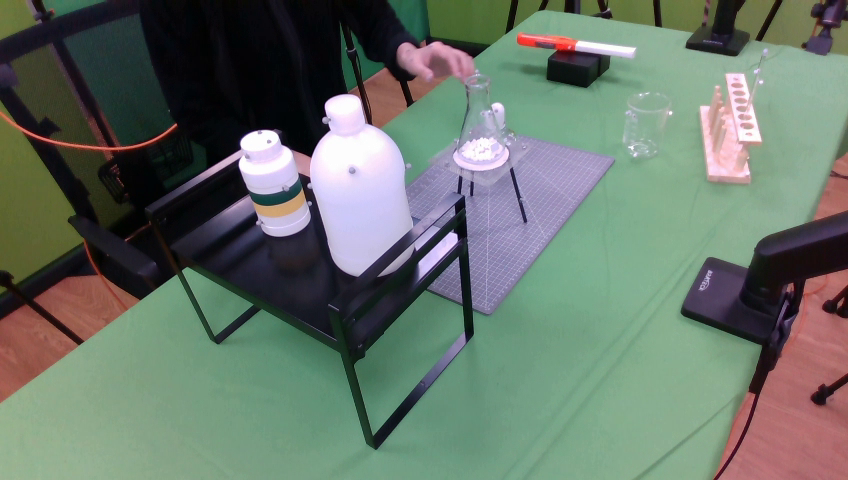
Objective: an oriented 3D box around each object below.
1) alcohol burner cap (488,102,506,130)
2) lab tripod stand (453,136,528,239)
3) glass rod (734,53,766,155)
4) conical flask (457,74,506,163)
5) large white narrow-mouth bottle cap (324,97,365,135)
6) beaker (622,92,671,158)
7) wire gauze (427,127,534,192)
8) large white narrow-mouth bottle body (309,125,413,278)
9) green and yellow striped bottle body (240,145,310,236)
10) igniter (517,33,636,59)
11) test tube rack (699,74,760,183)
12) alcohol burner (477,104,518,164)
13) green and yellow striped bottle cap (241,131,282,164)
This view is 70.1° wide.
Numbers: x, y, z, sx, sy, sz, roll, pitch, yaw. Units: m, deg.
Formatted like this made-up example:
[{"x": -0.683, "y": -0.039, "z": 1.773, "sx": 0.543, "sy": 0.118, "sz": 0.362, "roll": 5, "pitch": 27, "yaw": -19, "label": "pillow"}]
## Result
[{"x": 0.133, "y": -0.227, "z": 1.092, "sx": 0.034, "sy": 0.048, "sz": 0.033, "roll": -1, "pitch": 47, "yaw": 2, "label": "alcohol burner cap"}, {"x": 0.094, "y": -0.086, "z": 0.974, "sx": 0.148, "sy": 0.132, "sz": 0.147, "roll": -4, "pitch": 43, "yaw": 4, "label": "lab tripod stand"}, {"x": 0.540, "y": -0.220, "z": 1.007, "sx": 0.008, "sy": 0.201, "sz": 0.008, "roll": -5, "pitch": 46, "yaw": 6, "label": "glass rod"}, {"x": 0.082, "y": -0.181, "z": 0.893, "sx": 0.075, "sy": 0.122, "sz": 0.075, "roll": -4, "pitch": 41, "yaw": 4, "label": "conical flask"}, {"x": -0.076, "y": -0.120, "z": 0.585, "sx": 0.038, "sy": 0.024, "sz": 0.037, "roll": -3, "pitch": 42, "yaw": 3, "label": "large white narrow-mouth bottle cap"}, {"x": 0.402, "y": -0.210, "z": 1.106, "sx": 0.074, "sy": 0.101, "sz": 0.083, "roll": -9, "pitch": 40, "yaw": -2, "label": "beaker"}, {"x": 0.087, "y": -0.130, "z": 0.925, "sx": 0.124, "sy": 0.011, "sz": 0.122, "roll": 28, "pitch": 54, "yaw": 31, "label": "wire gauze"}, {"x": -0.068, "y": -0.057, "z": 0.645, "sx": 0.102, "sy": 0.195, "sz": 0.101, "roll": -3, "pitch": 42, "yaw": 4, "label": "large white narrow-mouth bottle body"}, {"x": -0.181, "y": -0.068, "z": 0.729, "sx": 0.063, "sy": 0.120, "sz": 0.063, "roll": -4, "pitch": 40, "yaw": 4, "label": "green and yellow striped bottle body"}, {"x": 0.336, "y": -0.441, "z": 1.369, "sx": 0.275, "sy": 0.025, "sz": 0.057, "roll": 16, "pitch": 41, "yaw": 23, "label": "igniter"}, {"x": 0.547, "y": -0.208, "z": 1.095, "sx": 0.066, "sy": 0.085, "sz": 0.242, "roll": 6, "pitch": 42, "yaw": 16, "label": "test tube rack"}, {"x": 0.135, "y": -0.200, "z": 1.117, "sx": 0.078, "sy": 0.119, "sz": 0.077, "roll": -4, "pitch": 43, "yaw": 4, "label": "alcohol burner"}, {"x": -0.187, "y": -0.107, "z": 0.695, "sx": 0.045, "sy": 0.020, "sz": 0.045, "roll": -3, "pitch": 39, "yaw": 3, "label": "green and yellow striped bottle cap"}]
